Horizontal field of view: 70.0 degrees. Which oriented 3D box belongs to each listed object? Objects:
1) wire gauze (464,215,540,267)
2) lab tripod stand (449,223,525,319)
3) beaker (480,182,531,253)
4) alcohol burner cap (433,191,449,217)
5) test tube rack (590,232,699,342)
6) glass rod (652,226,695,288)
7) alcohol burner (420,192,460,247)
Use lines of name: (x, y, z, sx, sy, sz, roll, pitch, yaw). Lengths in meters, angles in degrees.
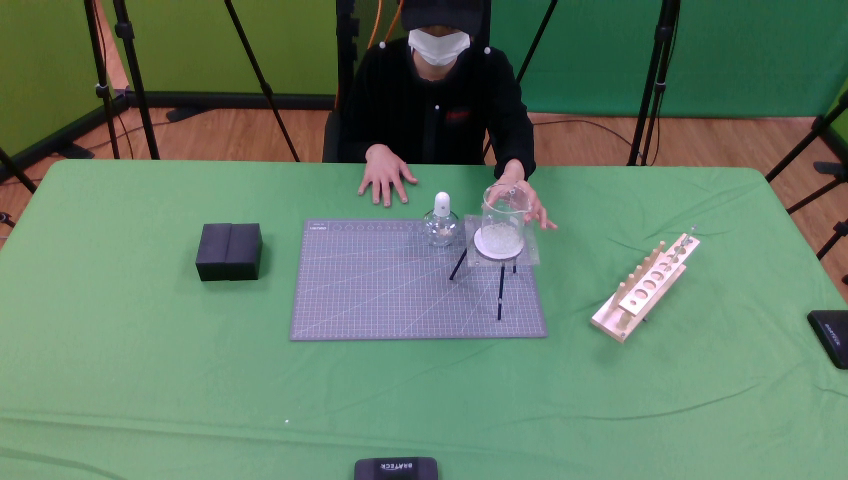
wire gauze: (0.131, -0.001, 1.035, 0.121, 0.011, 0.124, 1, 44, -2)
lab tripod stand: (0.120, 0.046, 1.080, 0.148, 0.132, 0.147, 1, 47, -1)
beaker: (0.133, -0.033, 0.998, 0.083, 0.101, 0.074, 25, 50, 21)
alcohol burner cap: (0.033, -0.070, 1.150, 0.034, 0.048, 0.033, 0, 44, 0)
test tube rack: (0.407, 0.074, 1.112, 0.066, 0.085, 0.242, 35, 53, 26)
glass rod: (0.432, 0.037, 1.057, 0.008, 0.200, 0.008, 1, 54, -1)
alcohol burner: (0.032, -0.045, 1.176, 0.078, 0.120, 0.077, 1, 44, -1)
